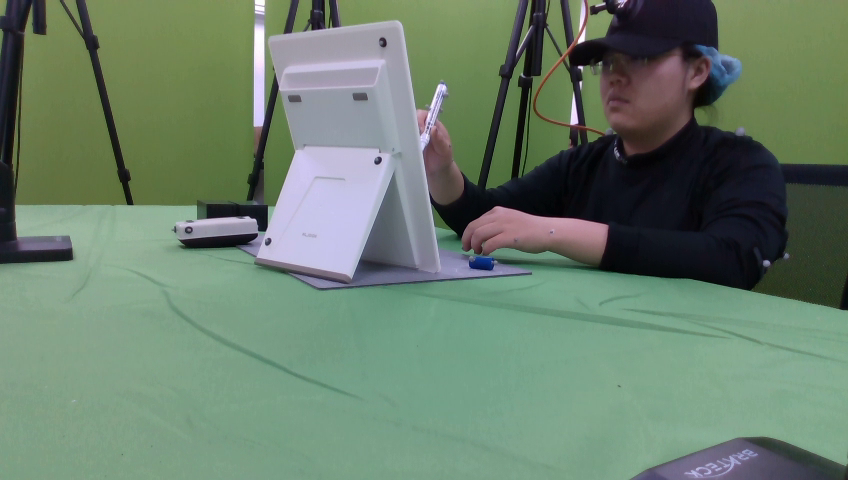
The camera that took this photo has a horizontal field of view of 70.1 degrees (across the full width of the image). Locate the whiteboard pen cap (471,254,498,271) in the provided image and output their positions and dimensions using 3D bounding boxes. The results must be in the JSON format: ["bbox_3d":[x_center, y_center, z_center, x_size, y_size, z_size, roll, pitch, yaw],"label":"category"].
[{"bbox_3d":[0.081,0.031,0.799,0.033,0.018,0.018,18,3,-16],"label":"whiteboard pen cap"}]

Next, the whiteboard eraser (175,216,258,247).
[{"bbox_3d":[-0.313,-0.012,0.915,0.113,0.042,0.055,-5,12,-30],"label":"whiteboard eraser"}]

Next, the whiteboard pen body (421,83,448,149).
[{"bbox_3d":[0.012,-0.182,0.910,0.017,0.140,0.017,15,-27,8],"label":"whiteboard pen body"}]

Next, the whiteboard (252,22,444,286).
[{"bbox_3d":[-0.125,-0.081,0.715,0.216,0.305,0.144,9,29,36],"label":"whiteboard"}]
